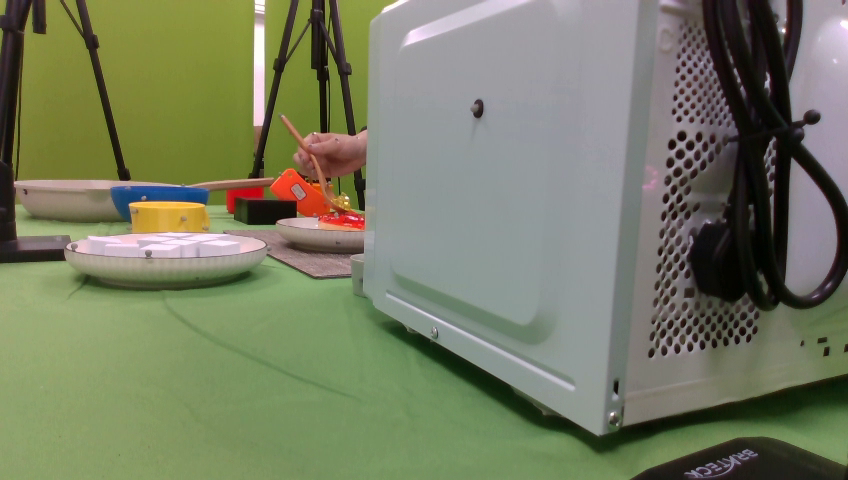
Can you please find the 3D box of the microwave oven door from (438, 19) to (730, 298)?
[{"bbox_3d":[0.181,-0.076,0.618,0.358,0.243,0.039,-2,8,-28],"label":"microwave oven door"}]

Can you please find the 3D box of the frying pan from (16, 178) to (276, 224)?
[{"bbox_3d":[-0.554,-0.096,1.266,0.490,0.102,0.305,-10,13,-24],"label":"frying pan"}]

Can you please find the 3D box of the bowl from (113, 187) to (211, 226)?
[{"bbox_3d":[-0.436,-0.046,1.013,0.151,0.077,0.151,2,7,0],"label":"bowl"}]

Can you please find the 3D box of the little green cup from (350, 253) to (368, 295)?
[{"bbox_3d":[-0.048,0.035,0.632,0.061,0.038,0.061,3,6,0],"label":"little green cup"}]

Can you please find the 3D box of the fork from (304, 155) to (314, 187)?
[{"bbox_3d":[-0.268,-0.134,1.446,0.028,0.018,0.207,2,-36,-1],"label":"fork"}]

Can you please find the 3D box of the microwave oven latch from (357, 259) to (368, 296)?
[{"bbox_3d":[-0.019,0.031,0.528,0.079,0.029,0.030,-1,7,-25],"label":"microwave oven latch"}]

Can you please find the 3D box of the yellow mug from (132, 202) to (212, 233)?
[{"bbox_3d":[-0.356,-0.020,0.878,0.099,0.064,0.131,5,7,21],"label":"yellow mug"}]

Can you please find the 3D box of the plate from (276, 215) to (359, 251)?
[{"bbox_3d":[-0.126,-0.012,0.950,0.209,0.038,0.209,2,7,0],"label":"plate"}]

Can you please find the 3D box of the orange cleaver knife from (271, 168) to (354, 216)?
[{"bbox_3d":[-0.237,-0.084,1.332,0.212,0.077,0.012,31,-9,-31],"label":"orange cleaver knife"}]

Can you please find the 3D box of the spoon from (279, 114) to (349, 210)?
[{"bbox_3d":[-0.176,-0.124,0.959,0.021,0.193,0.042,-33,-9,14],"label":"spoon"}]

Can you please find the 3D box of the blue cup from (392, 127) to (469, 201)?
[{"bbox_3d":[0.014,-0.111,0.956,0.100,0.092,0.093,31,11,5],"label":"blue cup"}]

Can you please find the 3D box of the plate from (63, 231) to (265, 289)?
[{"bbox_3d":[-0.288,0.021,0.687,0.208,0.039,0.207,2,8,0],"label":"plate"}]

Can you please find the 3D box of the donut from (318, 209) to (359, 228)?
[{"bbox_3d":[-0.118,-0.023,0.953,0.099,0.048,0.099,5,6,0],"label":"donut"}]

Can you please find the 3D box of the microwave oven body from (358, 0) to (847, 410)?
[{"bbox_3d":[0.210,-0.051,0.471,0.444,0.260,0.324,-1,7,-28],"label":"microwave oven body"}]
